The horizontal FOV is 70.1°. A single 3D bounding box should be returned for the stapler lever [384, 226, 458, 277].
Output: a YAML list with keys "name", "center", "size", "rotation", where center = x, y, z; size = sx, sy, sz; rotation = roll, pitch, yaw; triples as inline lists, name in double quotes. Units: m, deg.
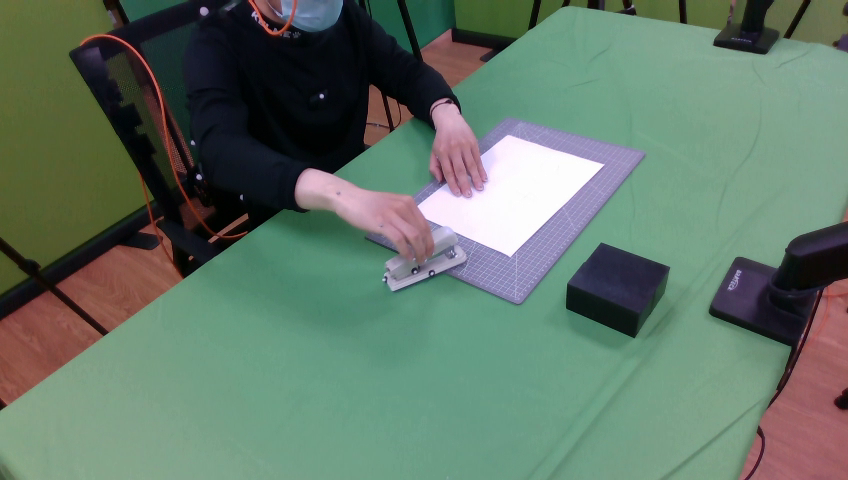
- name: "stapler lever"
  center: [-0.004, 0.016, 0.905]
  size: [0.118, 0.040, 0.026]
  rotation: [-23, 37, -13]

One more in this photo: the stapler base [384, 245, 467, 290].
- name: "stapler base"
  center: [0.001, 0.034, 0.921]
  size: [0.131, 0.024, 0.041]
  rotation: [-23, 37, -13]
